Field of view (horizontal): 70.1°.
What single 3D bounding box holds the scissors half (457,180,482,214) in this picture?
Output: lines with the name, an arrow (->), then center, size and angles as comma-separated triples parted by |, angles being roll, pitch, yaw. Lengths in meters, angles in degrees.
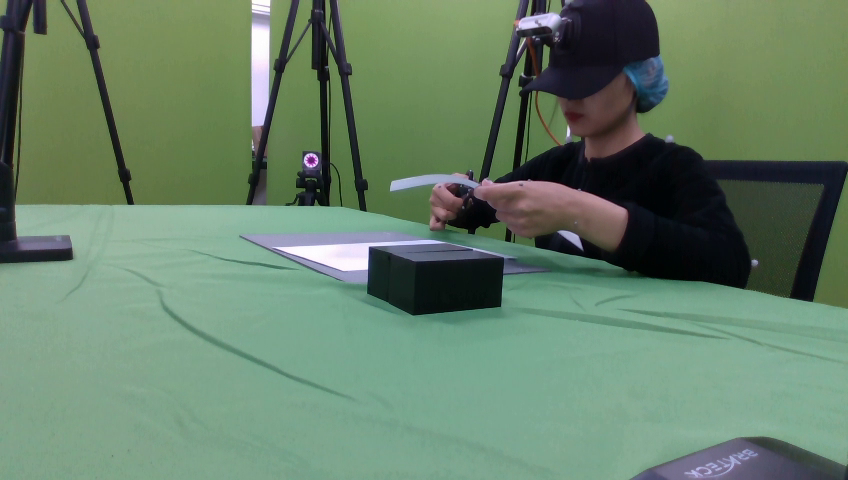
scissors half -> 0.081, -0.079, 1.070 | 0.013, 0.040, 0.175 | 16, -15, -5

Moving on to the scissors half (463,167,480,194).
scissors half -> 0.087, -0.101, 1.071 | 0.013, 0.040, 0.175 | 12, 15, -5
